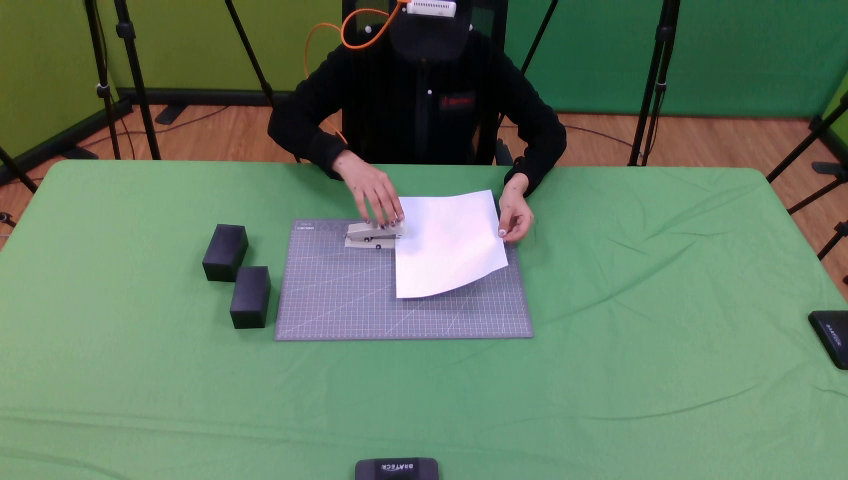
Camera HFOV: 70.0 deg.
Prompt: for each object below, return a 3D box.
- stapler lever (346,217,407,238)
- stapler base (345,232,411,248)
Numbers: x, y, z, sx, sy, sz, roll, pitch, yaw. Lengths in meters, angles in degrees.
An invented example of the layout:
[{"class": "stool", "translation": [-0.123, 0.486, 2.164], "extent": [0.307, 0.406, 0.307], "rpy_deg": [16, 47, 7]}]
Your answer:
[{"class": "stapler lever", "translation": [-0.091, -0.024, 1.174], "extent": [0.118, 0.040, 0.026], "rpy_deg": [0, 44, -2]}, {"class": "stapler base", "translation": [-0.090, -0.007, 1.192], "extent": [0.130, 0.024, 0.041], "rpy_deg": [0, 44, -1]}]
